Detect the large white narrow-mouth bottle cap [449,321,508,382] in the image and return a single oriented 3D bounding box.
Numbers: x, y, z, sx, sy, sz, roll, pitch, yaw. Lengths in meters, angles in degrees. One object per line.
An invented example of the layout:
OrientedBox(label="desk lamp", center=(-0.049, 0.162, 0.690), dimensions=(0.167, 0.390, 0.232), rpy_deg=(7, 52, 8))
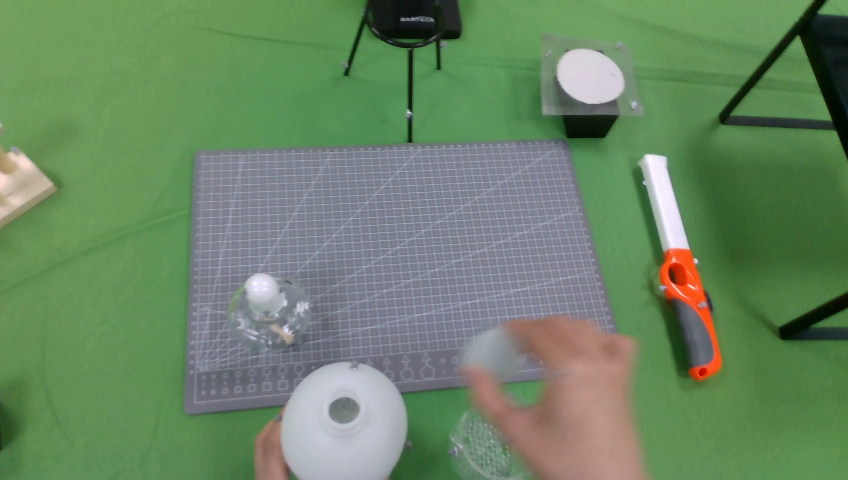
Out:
OrientedBox(label="large white narrow-mouth bottle cap", center=(0.036, 0.073, 0.400), dimensions=(0.038, 0.024, 0.037), rpy_deg=(3, 64, -6))

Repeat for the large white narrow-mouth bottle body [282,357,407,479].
OrientedBox(label="large white narrow-mouth bottle body", center=(-0.065, 0.151, 0.498), dimensions=(0.102, 0.196, 0.101), rpy_deg=(3, 64, -5))

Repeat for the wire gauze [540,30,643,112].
OrientedBox(label="wire gauze", center=(0.205, -0.208, 0.751), dimensions=(0.122, 0.011, 0.124), rpy_deg=(4, 64, -5))

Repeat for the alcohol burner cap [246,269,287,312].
OrientedBox(label="alcohol burner cap", center=(-0.142, 0.043, 0.540), dimensions=(0.034, 0.048, 0.033), rpy_deg=(1, 70, -3))

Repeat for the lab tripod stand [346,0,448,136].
OrientedBox(label="lab tripod stand", center=(-0.022, -0.219, 0.712), dimensions=(0.149, 0.132, 0.147), rpy_deg=(4, 65, -8))

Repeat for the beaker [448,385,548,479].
OrientedBox(label="beaker", center=(0.060, 0.180, 0.554), dimensions=(0.084, 0.101, 0.073), rpy_deg=(2, 64, -5))

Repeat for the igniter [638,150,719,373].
OrientedBox(label="igniter", center=(0.292, 0.017, 0.700), dimensions=(0.057, 0.025, 0.274), rpy_deg=(4, 65, -17))

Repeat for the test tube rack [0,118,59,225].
OrientedBox(label="test tube rack", center=(-0.497, -0.022, 0.583), dimensions=(0.066, 0.085, 0.242), rpy_deg=(42, 67, 12))

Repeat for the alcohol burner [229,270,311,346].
OrientedBox(label="alcohol burner", center=(-0.147, 0.058, 0.573), dimensions=(0.078, 0.120, 0.077), rpy_deg=(4, 63, -7))
